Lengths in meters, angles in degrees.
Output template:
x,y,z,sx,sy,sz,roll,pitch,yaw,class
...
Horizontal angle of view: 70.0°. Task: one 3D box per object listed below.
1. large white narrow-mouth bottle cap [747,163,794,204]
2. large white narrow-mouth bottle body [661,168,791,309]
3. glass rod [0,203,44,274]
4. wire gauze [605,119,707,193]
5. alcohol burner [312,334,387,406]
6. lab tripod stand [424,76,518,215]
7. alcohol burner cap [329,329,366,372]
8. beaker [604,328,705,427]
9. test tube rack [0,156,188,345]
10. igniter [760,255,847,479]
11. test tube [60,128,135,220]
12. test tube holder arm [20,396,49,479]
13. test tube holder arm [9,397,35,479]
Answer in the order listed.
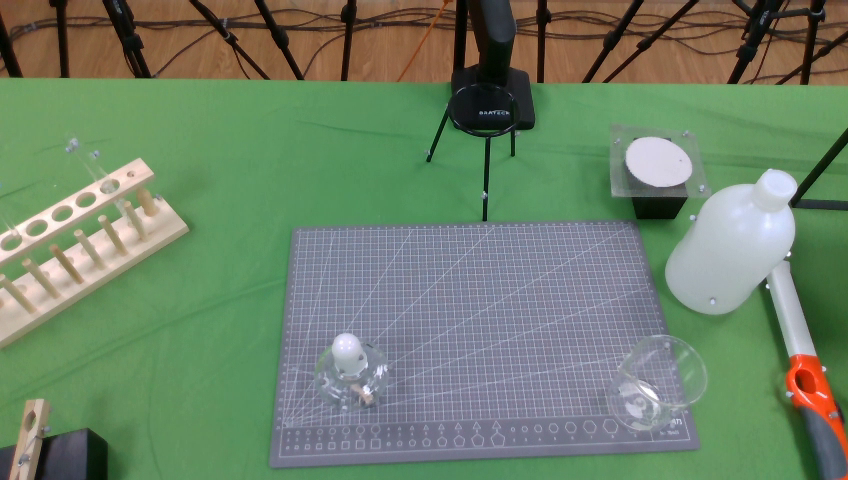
x,y,z,sx,sy,sz,roll,pitch,yaw,class
0.345,-0.057,0.604,0.038,0.024,0.037,1,56,-1,large white narrow-mouth bottle cap
0.343,-0.008,0.675,0.102,0.196,0.101,1,56,-1,large white narrow-mouth bottle body
-0.443,-0.021,0.642,0.008,0.201,0.008,3,48,-3,glass rod
0.299,-0.110,0.793,0.121,0.011,0.124,5,57,2,wire gauze
-0.077,0.125,0.619,0.078,0.120,0.077,2,55,-3,alcohol burner
0.070,-0.128,0.781,0.148,0.132,0.147,2,58,-3,lab tripod stand
-0.076,0.106,0.589,0.034,0.048,0.033,-2,56,3,alcohol burner cap
0.229,0.145,0.625,0.084,0.101,0.073,3,56,2,beaker
-0.410,0.009,0.703,0.242,0.086,0.066,-37,65,-23,test tube rack
0.426,0.135,0.685,0.057,0.025,0.274,9,56,-8,igniter
-0.371,-0.071,0.697,0.017,0.151,0.017,-2,56,3,test tube
-0.362,0.230,0.546,0.013,0.015,0.176,-9,62,1,test tube holder arm
-0.373,0.192,0.567,0.010,0.015,0.087,-9,62,2,test tube holder arm
